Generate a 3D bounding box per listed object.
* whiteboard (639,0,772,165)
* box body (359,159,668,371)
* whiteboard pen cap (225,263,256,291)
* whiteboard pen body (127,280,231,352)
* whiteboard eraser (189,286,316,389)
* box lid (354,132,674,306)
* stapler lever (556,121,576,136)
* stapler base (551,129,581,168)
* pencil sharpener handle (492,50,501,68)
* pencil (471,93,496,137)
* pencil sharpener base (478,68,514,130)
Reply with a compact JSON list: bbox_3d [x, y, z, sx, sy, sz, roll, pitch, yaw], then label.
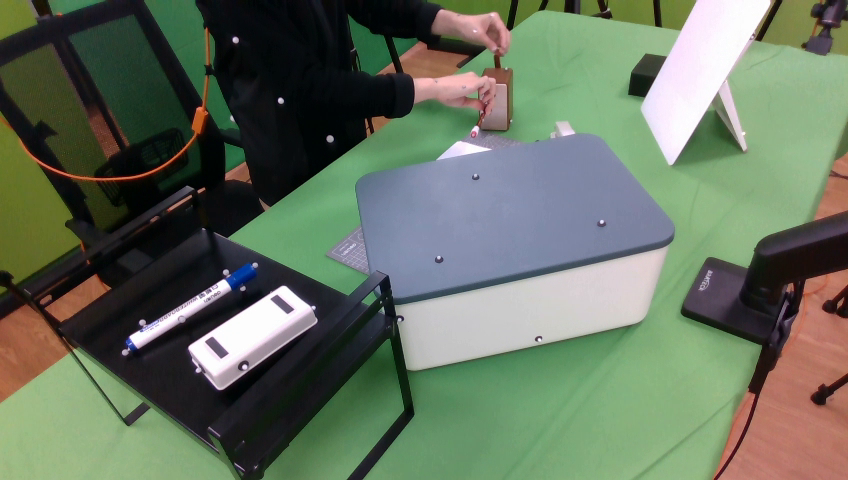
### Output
[{"bbox_3d":[0.543,-0.298,1.076,0.144,0.305,0.216,12,40,-7],"label":"whiteboard"},{"bbox_3d":[0.108,0.014,0.833,0.365,0.161,0.252,-11,41,-5],"label":"box body"},{"bbox_3d":[-0.204,0.041,0.668,0.033,0.018,0.018,-36,48,-22],"label":"whiteboard pen cap"},{"bbox_3d":[-0.248,0.072,0.645,0.141,0.017,0.017,-35,47,-23],"label":"whiteboard pen body"},{"bbox_3d":[-0.166,0.096,0.593,0.113,0.042,0.055,-36,47,-29],"label":"whiteboard eraser"},{"bbox_3d":[0.103,-0.042,0.785,0.372,0.015,0.261,-12,41,-5],"label":"box lid"},{"bbox_3d":[0.266,-0.198,1.128,0.027,0.040,0.117,0,38,3],"label":"stapler lever"},{"bbox_3d":[0.268,-0.178,1.142,0.041,0.024,0.130,1,37,3],"label":"stapler base"},{"bbox_3d":[0.153,-0.353,1.235,0.036,0.068,0.030,-4,39,21],"label":"pencil sharpener handle"},{"bbox_3d":[0.113,-0.238,1.122,0.012,0.012,0.194,7,38,16],"label":"pencil"},{"bbox_3d":[0.148,-0.287,1.225,0.061,0.107,0.076,4,41,15],"label":"pencil sharpener base"}]
